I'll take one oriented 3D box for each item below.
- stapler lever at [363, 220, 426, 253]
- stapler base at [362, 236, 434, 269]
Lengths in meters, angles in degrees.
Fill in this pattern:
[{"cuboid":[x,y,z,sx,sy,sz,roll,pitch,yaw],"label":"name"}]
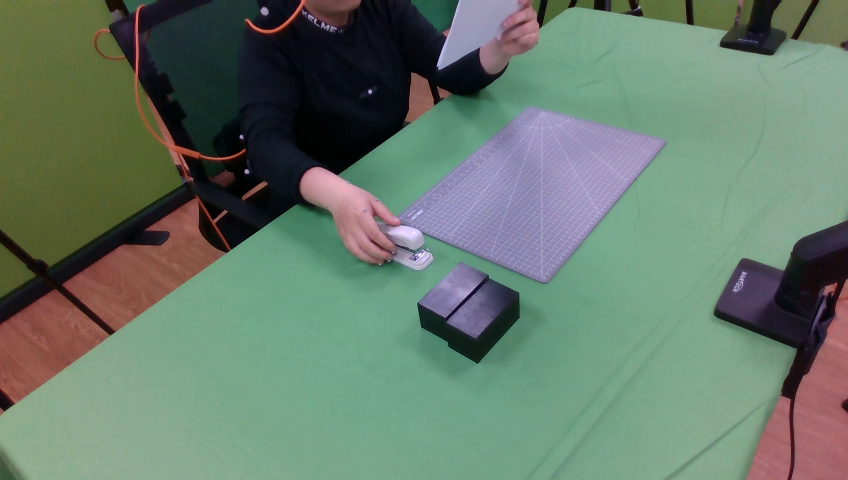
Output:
[{"cuboid":[-0.049,-0.011,0.959,0.117,0.040,0.027,21,47,32],"label":"stapler lever"},{"cuboid":[-0.044,0.008,0.974,0.129,0.024,0.041,21,46,32],"label":"stapler base"}]
